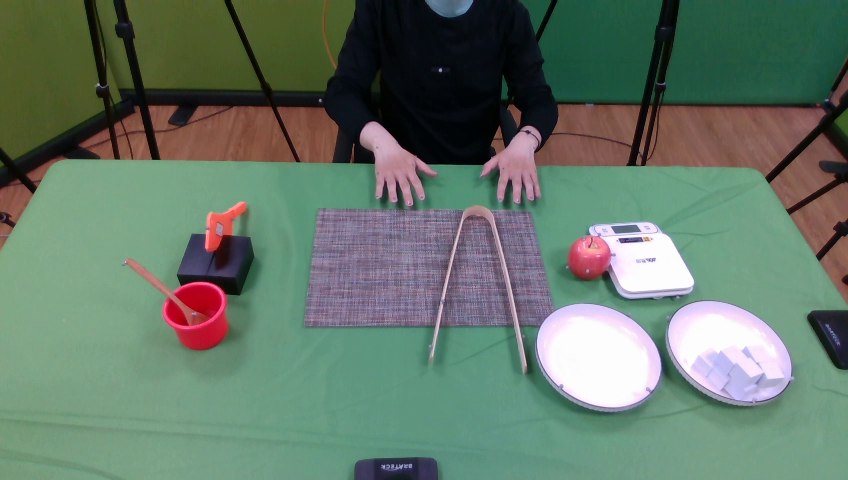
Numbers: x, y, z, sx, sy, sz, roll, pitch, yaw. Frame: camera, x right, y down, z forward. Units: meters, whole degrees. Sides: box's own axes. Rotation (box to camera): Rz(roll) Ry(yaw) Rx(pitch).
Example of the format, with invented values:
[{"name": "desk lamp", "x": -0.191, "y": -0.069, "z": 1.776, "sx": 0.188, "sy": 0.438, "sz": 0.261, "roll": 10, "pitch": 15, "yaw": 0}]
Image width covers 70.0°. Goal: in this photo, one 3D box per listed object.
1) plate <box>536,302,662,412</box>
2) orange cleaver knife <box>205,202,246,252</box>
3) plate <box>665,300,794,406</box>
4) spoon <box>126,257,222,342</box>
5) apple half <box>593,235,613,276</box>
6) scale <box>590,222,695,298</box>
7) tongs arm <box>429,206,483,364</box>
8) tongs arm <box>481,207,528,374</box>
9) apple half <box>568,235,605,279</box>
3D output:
[{"name": "plate", "x": 0.288, "y": 0.197, "z": 1.016, "sx": 0.209, "sy": 0.038, "sz": 0.208, "roll": 2, "pitch": 46, "yaw": -2}, {"name": "orange cleaver knife", "x": -0.374, "y": -0.029, "z": 1.150, "sx": 0.012, "sy": 0.077, "sz": 0.211, "roll": 4, "pitch": 13, "yaw": 0}, {"name": "plate", "x": 0.513, "y": 0.194, "z": 1.034, "sx": 0.208, "sy": 0.039, "sz": 0.206, "roll": 2, "pitch": 46, "yaw": -2}, {"name": "spoon", "x": -0.408, "y": 0.096, "z": 0.990, "sx": 0.194, "sy": 0.021, "sz": 0.041, "roll": 50, "pitch": 53, "yaw": -18}, {"name": "apple half", "x": 0.340, "y": 0.029, "z": 1.155, "sx": 0.033, "sy": 0.082, "sz": 0.080, "roll": -10, "pitch": 47, "yaw": -8}, {"name": "scale", "x": 0.424, "y": 0.031, "z": 1.189, "sx": 0.149, "sy": 0.032, "sz": 0.199, "roll": -3, "pitch": 46, "yaw": -7}, {"name": "tongs arm", "x": 0.064, "y": 0.069, "z": 1.124, "sx": 0.051, "sy": 0.026, "sz": 0.382, "roll": 8, "pitch": 45, "yaw": 5}, {"name": "tongs arm", "x": 0.149, "y": 0.077, "z": 1.124, "sx": 0.028, "sy": 0.028, "sz": 0.385, "roll": -4, "pitch": 46, "yaw": -2}, {"name": "apple half", "x": 0.302, "y": 0.035, "z": 1.148, "sx": 0.053, "sy": 0.075, "sz": 0.080, "roll": -9, "pitch": 51, "yaw": -8}]
